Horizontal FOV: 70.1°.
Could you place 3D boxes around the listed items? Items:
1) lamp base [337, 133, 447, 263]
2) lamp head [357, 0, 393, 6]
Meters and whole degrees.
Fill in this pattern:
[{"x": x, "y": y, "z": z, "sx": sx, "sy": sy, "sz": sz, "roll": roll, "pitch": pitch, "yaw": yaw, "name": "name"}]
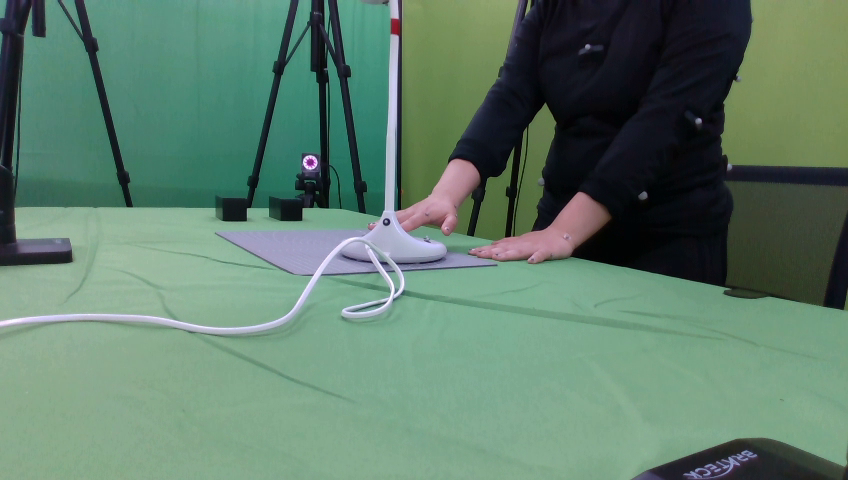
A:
[{"x": -0.043, "y": -0.062, "z": 0.868, "sx": 0.161, "sy": 0.180, "sz": 0.179, "roll": 2, "pitch": 10, "yaw": -3, "name": "lamp base"}, {"x": -0.056, "y": -0.383, "z": 0.819, "sx": 0.113, "sy": 0.112, "sz": 0.122, "roll": 0, "pitch": 13, "yaw": -21, "name": "lamp head"}]
